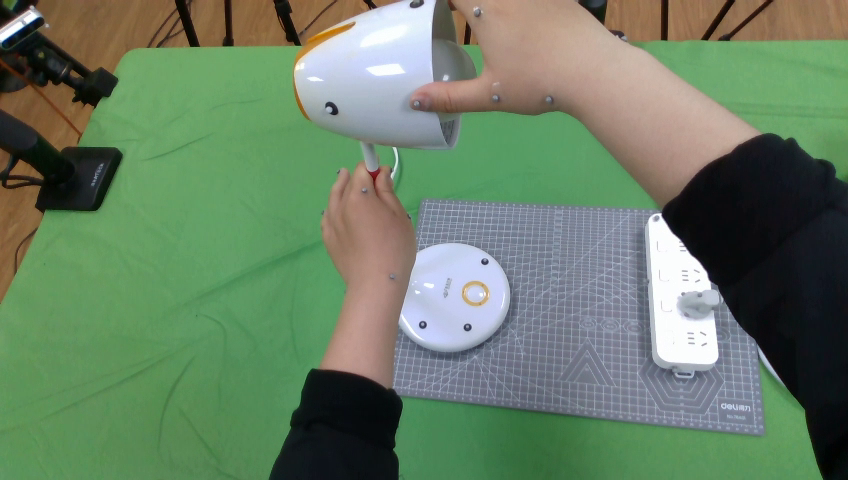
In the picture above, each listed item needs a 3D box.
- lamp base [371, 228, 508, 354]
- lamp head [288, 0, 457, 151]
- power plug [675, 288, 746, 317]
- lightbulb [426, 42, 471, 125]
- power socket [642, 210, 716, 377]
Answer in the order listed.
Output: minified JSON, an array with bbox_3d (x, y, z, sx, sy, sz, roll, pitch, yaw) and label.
[{"bbox_3d":[0.008,0.040,0.751,0.179,0.182,0.159,-3,61,11],"label":"lamp base"},{"bbox_3d":[-0.039,-0.118,0.469,0.122,0.113,0.111,-5,60,18],"label":"lamp head"},{"bbox_3d":[0.345,0.081,0.737,0.072,0.053,0.035,13,65,13],"label":"power plug"},{"bbox_3d":[-0.018,-0.117,0.456,0.107,0.060,0.059,5,62,16],"label":"lightbulb"},{"bbox_3d":[0.322,0.060,0.773,0.072,0.033,0.225,2,61,9],"label":"power socket"}]
